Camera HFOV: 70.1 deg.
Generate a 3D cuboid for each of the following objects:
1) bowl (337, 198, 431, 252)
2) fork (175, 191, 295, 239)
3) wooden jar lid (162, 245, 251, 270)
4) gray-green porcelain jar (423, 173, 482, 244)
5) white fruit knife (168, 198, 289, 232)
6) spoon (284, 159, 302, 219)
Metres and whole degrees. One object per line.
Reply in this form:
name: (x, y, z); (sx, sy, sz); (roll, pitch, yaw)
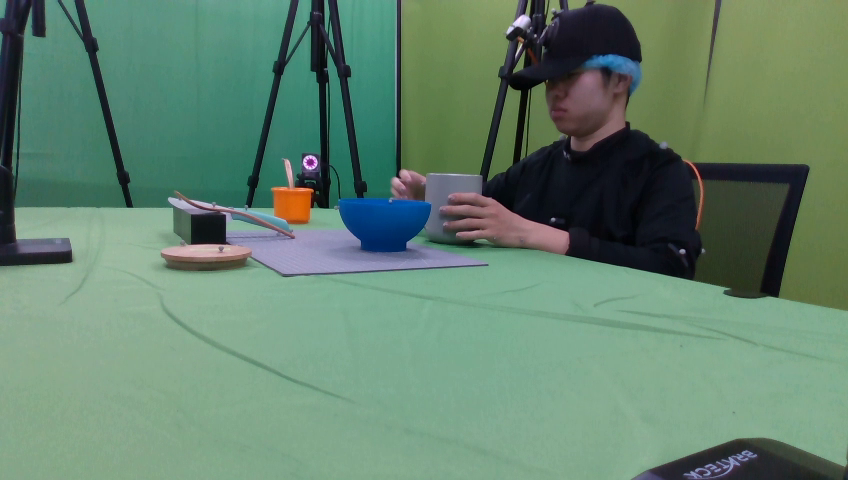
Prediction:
bowl: (-0.066, -0.024, 0.967); (0.151, 0.077, 0.151); (3, 7, 0)
fork: (-0.306, -0.039, 0.993); (0.208, 0.018, 0.028); (19, -8, -34)
wooden jar lid: (-0.278, 0.022, 0.777); (0.108, 0.020, 0.108); (2, 6, 0)
gray-green porcelain jar: (0.052, -0.059, 1.116); (0.106, 0.126, 0.106); (2, 7, 0)
white fruit knife: (-0.329, -0.044, 1.036); (0.208, 0.027, 0.016); (14, -1, -32)
spoon: (-0.302, -0.118, 1.370); (0.042, 0.193, 0.021); (4, -39, -24)
